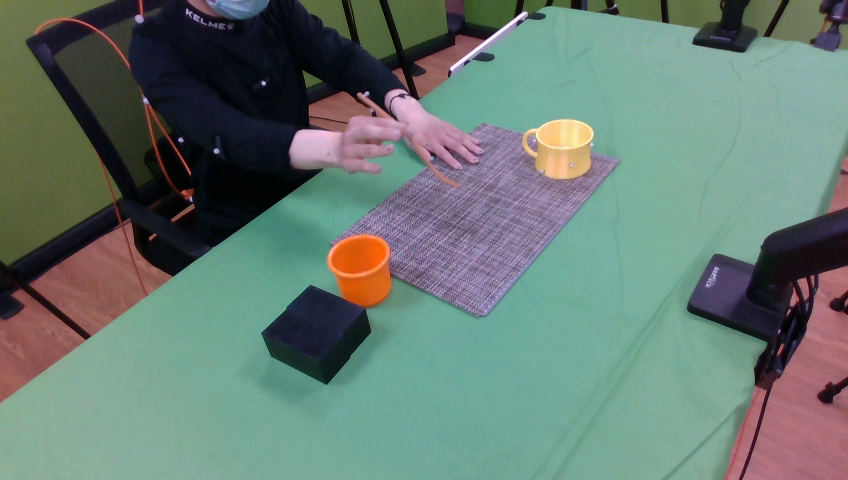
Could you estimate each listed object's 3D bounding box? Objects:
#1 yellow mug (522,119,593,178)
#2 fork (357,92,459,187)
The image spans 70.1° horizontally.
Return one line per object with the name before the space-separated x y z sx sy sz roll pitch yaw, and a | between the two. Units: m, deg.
yellow mug | 0.237 -0.169 1.092 0.130 0.064 0.100 17 46 27
fork | -0.022 -0.149 0.909 0.018 0.208 0.028 -41 19 13
